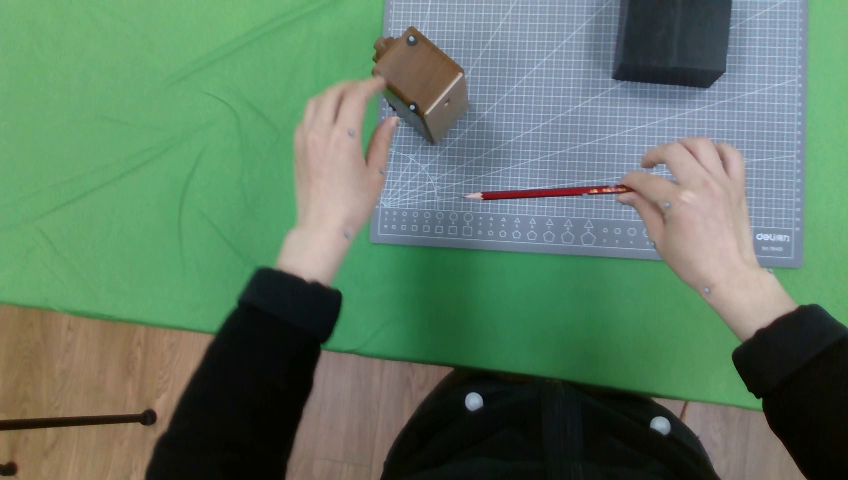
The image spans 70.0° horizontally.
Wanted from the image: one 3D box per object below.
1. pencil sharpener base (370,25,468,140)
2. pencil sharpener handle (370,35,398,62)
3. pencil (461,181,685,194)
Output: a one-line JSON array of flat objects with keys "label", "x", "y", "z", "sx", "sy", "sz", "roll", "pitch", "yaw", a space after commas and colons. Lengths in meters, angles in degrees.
[{"label": "pencil sharpener base", "x": -0.004, "y": -0.157, "z": 0.617, "sx": 0.076, "sy": 0.107, "sz": 0.061, "roll": 42, "pitch": 91, "yaw": 8}, {"label": "pencil sharpener handle", "x": -0.044, "y": -0.191, "z": 0.611, "sx": 0.030, "sy": 0.068, "sz": 0.036, "roll": 42, "pitch": 84, "yaw": 8}, {"label": "pencil", "x": 0.129, "y": -0.045, "z": 0.527, "sx": 0.194, "sy": 0.012, "sz": 0.012, "roll": -1, "pitch": 85, "yaw": 1}]
